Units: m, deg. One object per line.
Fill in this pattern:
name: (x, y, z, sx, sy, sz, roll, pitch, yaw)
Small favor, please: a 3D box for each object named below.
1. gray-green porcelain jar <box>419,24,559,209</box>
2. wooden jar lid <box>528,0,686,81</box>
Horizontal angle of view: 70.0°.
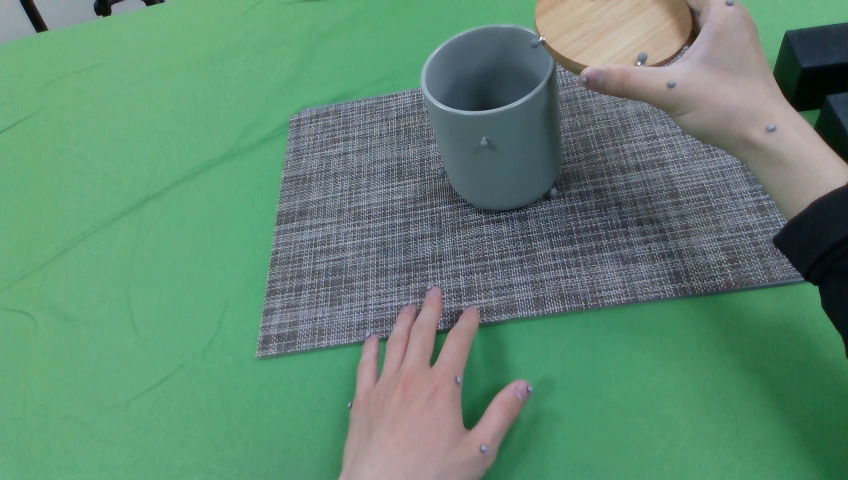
gray-green porcelain jar: (0.060, -0.097, 0.512, 0.106, 0.128, 0.105, -7, 53, 10)
wooden jar lid: (0.129, -0.153, 0.433, 0.108, 0.021, 0.107, -2, 61, 4)
